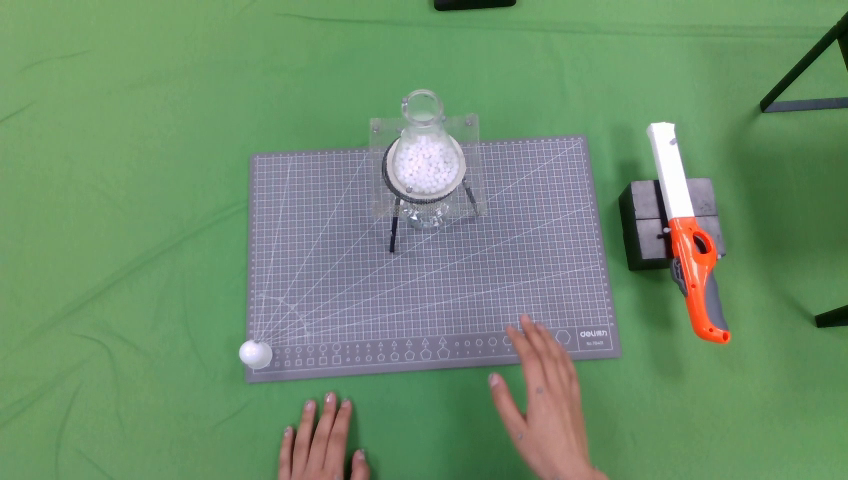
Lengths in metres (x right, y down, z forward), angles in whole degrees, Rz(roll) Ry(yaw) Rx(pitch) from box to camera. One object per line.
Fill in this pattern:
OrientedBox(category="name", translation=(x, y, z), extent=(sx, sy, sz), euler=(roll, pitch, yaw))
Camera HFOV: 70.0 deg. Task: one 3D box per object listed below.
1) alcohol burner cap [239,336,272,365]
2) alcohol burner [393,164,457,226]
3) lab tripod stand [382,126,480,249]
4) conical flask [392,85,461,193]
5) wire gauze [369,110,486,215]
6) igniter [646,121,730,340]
OrientedBox(category="alcohol burner cap", translation=(-0.199, 0.127, 0.706), extent=(0.034, 0.048, 0.033), euler=(1, 70, -1))
OrientedBox(category="alcohol burner", translation=(0.001, -0.061, 0.729), extent=(0.078, 0.120, 0.077), euler=(0, 73, 2))
OrientedBox(category="lab tripod stand", translation=(-0.004, -0.067, 0.720), extent=(0.148, 0.132, 0.147), euler=(0, 72, 2))
OrientedBox(category="conical flask", translation=(0.001, -0.103, 0.600), extent=(0.075, 0.122, 0.075), euler=(0, 71, 1))
OrientedBox(category="wire gauze", translation=(0.003, -0.084, 0.657), extent=(0.125, 0.011, 0.121), euler=(-1, 74, -3))
OrientedBox(category="igniter", translation=(0.308, -0.017, 0.717), extent=(0.057, 0.025, 0.274), euler=(-4, 70, -5))
